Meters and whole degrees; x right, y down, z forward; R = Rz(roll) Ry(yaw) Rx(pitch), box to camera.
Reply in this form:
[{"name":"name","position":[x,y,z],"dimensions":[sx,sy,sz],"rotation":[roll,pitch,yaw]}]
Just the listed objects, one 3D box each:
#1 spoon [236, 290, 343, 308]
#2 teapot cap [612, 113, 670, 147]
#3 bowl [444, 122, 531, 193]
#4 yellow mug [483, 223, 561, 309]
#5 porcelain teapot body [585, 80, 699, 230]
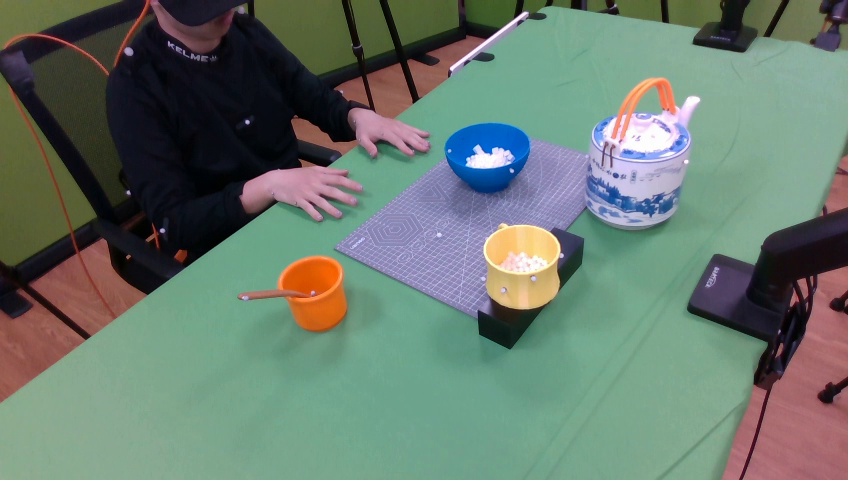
[{"name":"spoon","position":[-0.176,0.076,0.808],"dimensions":[0.041,0.195,0.021],"rotation":[23,94,30]},{"name":"teapot cap","position":[0.323,-0.166,0.900],"dimensions":[0.085,0.044,0.085],"rotation":[-3,38,3]},{"name":"bowl","position":[0.112,-0.136,1.064],"dimensions":[0.151,0.077,0.150],"rotation":[-4,41,4]},{"name":"yellow mug","position":[0.126,0.025,0.811],"dimensions":[0.100,0.064,0.130],"rotation":[-16,39,-9]},{"name":"porcelain teapot body","position":[0.350,-0.149,0.936],"dimensions":[0.206,0.226,0.144],"rotation":[-30,45,-25]}]
